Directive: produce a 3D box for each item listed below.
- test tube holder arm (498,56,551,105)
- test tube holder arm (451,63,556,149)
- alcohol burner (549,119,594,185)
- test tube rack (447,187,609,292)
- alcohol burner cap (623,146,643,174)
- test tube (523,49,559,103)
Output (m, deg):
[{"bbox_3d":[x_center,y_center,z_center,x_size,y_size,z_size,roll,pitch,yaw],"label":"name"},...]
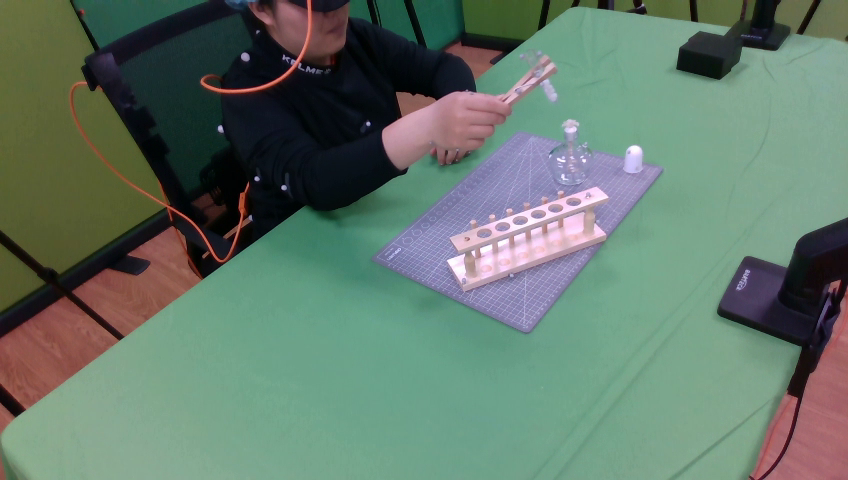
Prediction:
[{"bbox_3d":[0.138,-0.217,0.834,0.087,0.015,0.010,-44,62,19],"label":"test tube holder arm"},{"bbox_3d":[0.109,-0.186,0.848,0.178,0.015,0.013,-38,64,22],"label":"test tube holder arm"},{"bbox_3d":[0.254,-0.155,1.043,0.078,0.120,0.077,-7,40,6],"label":"alcohol burner"},{"bbox_3d":[0.155,-0.011,0.913,0.243,0.085,0.066,-19,41,-12],"label":"test tube rack"},{"bbox_3d":[0.369,-0.143,1.061,0.034,0.048,0.033,-7,40,6],"label":"alcohol burner cap"},{"bbox_3d":[0.165,-0.224,0.841,0.017,0.151,0.017,-5,77,24],"label":"test tube"}]
